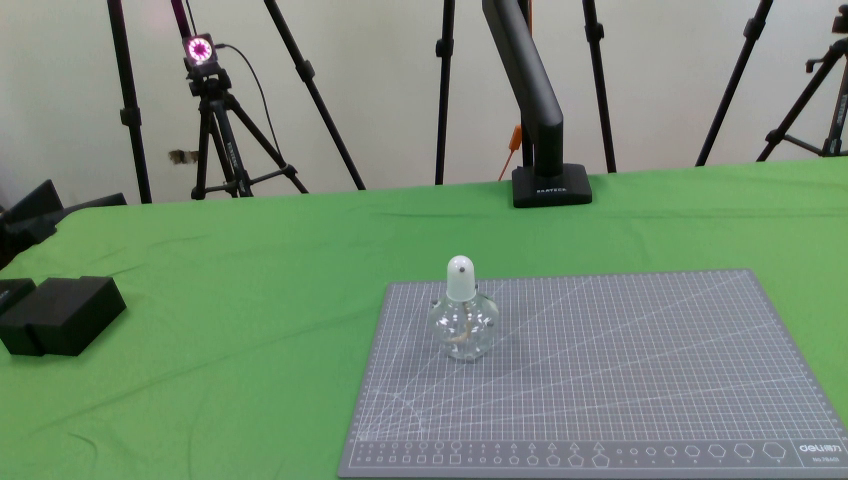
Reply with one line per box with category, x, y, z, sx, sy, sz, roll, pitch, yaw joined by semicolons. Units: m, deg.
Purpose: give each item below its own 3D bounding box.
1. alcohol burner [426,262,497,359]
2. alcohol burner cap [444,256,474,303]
alcohol burner;0.040;0.070;0.651;0.078;0.120;0.077;-4;33;3
alcohol burner cap;0.037;0.039;0.632;0.034;0.048;0.033;-1;34;1
